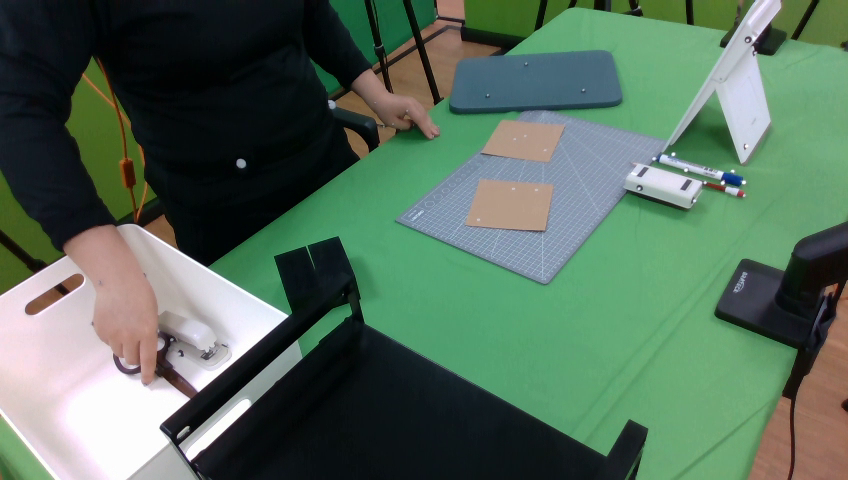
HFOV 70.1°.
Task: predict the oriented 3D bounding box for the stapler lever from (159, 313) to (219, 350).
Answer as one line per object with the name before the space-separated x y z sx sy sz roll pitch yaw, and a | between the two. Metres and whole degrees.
stapler lever | -0.329 0.120 0.842 0.117 0.040 0.027 15 33 34

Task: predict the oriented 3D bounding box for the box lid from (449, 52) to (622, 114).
box lid | 0.249 -0.358 1.370 0.371 0.015 0.262 -1 40 9

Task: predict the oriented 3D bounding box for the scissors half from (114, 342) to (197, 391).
scissors half | -0.350 0.185 0.811 0.174 0.013 0.040 21 53 18

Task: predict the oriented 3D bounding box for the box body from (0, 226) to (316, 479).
box body | -0.339 0.162 0.728 0.361 0.161 0.255 23 48 31

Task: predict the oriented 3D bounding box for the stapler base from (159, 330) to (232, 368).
stapler base | -0.325 0.142 0.853 0.129 0.024 0.041 14 32 34

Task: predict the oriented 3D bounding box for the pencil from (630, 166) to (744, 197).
pencil | 0.447 -0.103 1.039 0.192 0.012 0.012 21 48 30

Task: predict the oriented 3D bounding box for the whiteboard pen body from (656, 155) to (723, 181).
whiteboard pen body | 0.475 -0.123 1.052 0.139 0.017 0.017 24 50 32

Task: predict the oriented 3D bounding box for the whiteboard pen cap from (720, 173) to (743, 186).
whiteboard pen cap | 0.519 -0.103 1.020 0.033 0.018 0.018 23 49 30

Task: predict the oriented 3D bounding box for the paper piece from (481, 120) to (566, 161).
paper piece | 0.197 -0.199 1.188 0.135 0.004 0.135 11 44 21

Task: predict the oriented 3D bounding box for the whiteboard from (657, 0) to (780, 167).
whiteboard | 0.571 -0.272 1.038 0.143 0.306 0.218 37 54 17

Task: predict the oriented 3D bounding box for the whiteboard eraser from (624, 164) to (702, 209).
whiteboard eraser | 0.396 -0.087 1.003 0.112 0.042 0.056 22 48 31

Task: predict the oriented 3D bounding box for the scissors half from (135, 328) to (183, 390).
scissors half | -0.337 0.174 0.822 0.040 0.013 0.174 -34 57 -31

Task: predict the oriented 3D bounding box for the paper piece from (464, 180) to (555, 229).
paper piece | 0.149 -0.062 1.035 0.137 0.009 0.136 5 37 17
